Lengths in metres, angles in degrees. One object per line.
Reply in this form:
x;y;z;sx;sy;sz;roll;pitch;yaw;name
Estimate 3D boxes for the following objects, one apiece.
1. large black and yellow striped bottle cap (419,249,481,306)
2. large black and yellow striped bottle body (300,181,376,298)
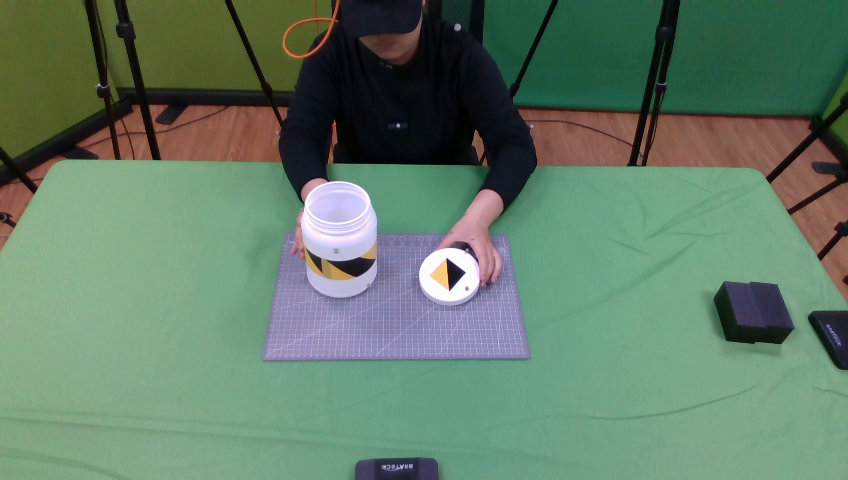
0.048;0.068;1.121;0.115;0.019;0.114;-2;57;4;large black and yellow striped bottle cap
-0.150;-0.001;1.072;0.131;0.185;0.130;2;46;-2;large black and yellow striped bottle body
